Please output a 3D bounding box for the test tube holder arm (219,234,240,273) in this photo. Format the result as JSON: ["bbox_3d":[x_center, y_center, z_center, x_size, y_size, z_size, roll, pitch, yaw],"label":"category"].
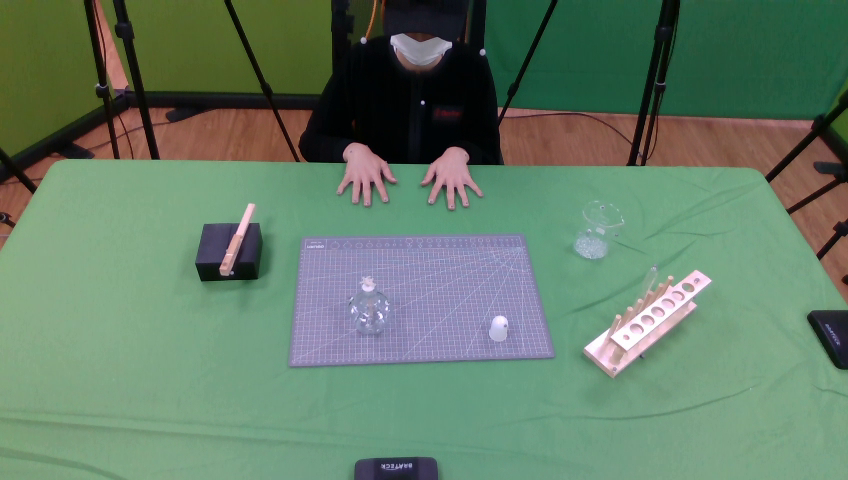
[{"bbox_3d":[-0.344,0.023,1.076,0.015,0.010,0.087,5,45,2],"label":"test tube holder arm"}]

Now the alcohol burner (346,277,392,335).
[{"bbox_3d":[-0.093,0.106,1.021,0.078,0.120,0.077,1,46,-1],"label":"alcohol burner"}]

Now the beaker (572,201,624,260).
[{"bbox_3d":[0.338,-0.015,1.187,0.084,0.101,0.074,21,49,15],"label":"beaker"}]

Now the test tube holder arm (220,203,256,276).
[{"bbox_3d":[-0.340,-0.005,1.112,0.015,0.013,0.177,5,46,2],"label":"test tube holder arm"}]

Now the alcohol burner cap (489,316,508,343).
[{"bbox_3d":[0.130,0.151,1.045,0.034,0.048,0.033,2,46,-2],"label":"alcohol burner cap"}]

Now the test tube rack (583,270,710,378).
[{"bbox_3d":[0.389,0.133,1.057,0.242,0.085,0.066,-29,54,-28],"label":"test tube rack"}]

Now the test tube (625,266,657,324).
[{"bbox_3d":[0.367,0.097,1.027,0.017,0.151,0.017,1,46,-1],"label":"test tube"}]
